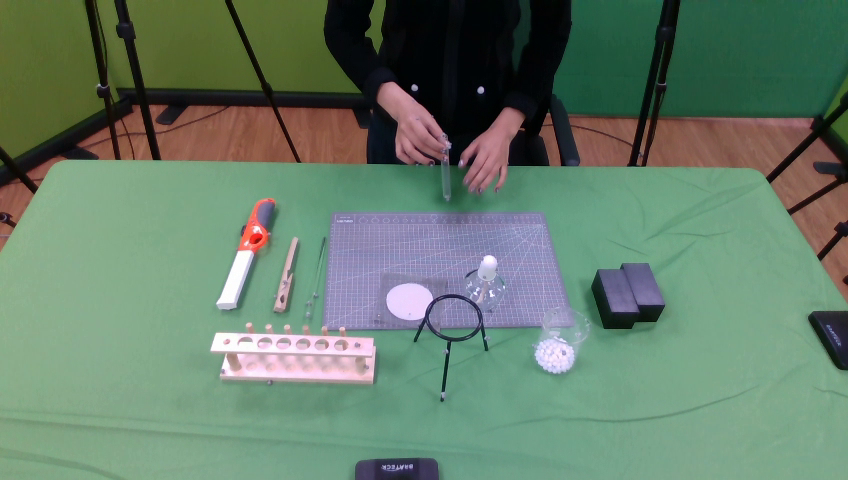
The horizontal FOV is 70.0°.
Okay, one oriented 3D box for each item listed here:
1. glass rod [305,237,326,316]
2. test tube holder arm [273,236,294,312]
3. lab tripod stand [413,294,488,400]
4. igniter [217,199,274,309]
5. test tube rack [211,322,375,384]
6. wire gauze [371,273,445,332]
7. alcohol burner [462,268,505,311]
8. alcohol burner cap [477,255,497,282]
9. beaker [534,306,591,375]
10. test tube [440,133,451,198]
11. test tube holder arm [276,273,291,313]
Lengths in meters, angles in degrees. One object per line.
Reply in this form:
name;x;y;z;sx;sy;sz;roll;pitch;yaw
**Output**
glass rod;-0.202;0.063;1.131;0.008;0.008;0.198;4;44;0
test tube holder arm;-0.259;0.059;1.123;0.013;0.015;0.177;28;39;-27
lab tripod stand;0.044;0.159;0.972;0.148;0.132;0.147;2;44;-2
igniter;-0.336;0.017;1.153;0.057;0.025;0.275;-2;45;8
test tube rack;-0.202;0.176;0.969;0.242;0.085;0.066;3;46;-2
wire gauze;-0.028;0.108;1.100;0.125;0.011;0.121;7;45;4
alcohol burner;0.108;0.071;1.072;0.078;0.119;0.077;4;45;-3
alcohol burner cap;0.110;0.047;1.046;0.034;0.048;0.033;2;52;-2
beaker;0.226;0.168;1.002;0.084;0.101;0.073;-5;47;-10
test tube;0.041;-0.138;1.155;0.017;0.151;0.017;-3;45;3
test tube holder arm;-0.254;0.093;1.094;0.010;0.015;0.087;29;38;-26
